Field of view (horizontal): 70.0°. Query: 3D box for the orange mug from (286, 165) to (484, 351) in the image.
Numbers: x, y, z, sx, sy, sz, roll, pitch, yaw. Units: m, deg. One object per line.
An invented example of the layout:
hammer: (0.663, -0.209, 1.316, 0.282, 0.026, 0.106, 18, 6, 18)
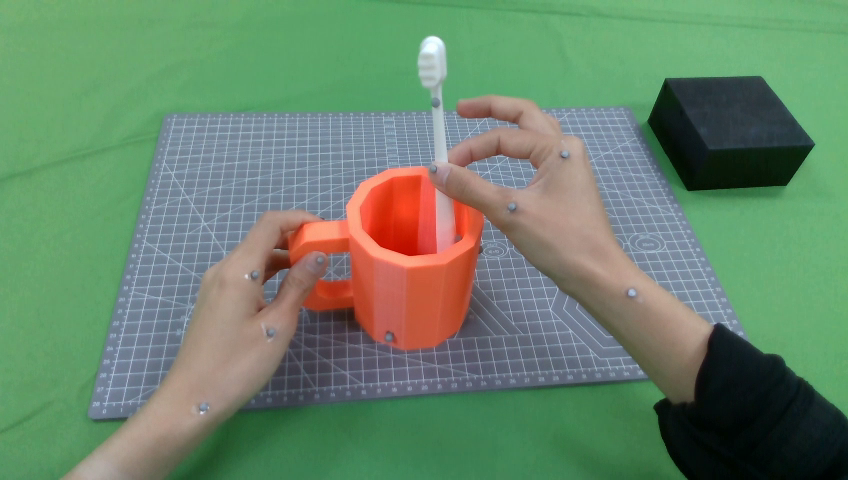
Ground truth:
orange mug: (-0.026, 0.015, 0.406, 0.126, 0.101, 0.082, -4, 51, -13)

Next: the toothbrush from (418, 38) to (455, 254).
toothbrush: (0.010, -0.030, 0.366, 0.014, 0.183, 0.016, 6, 40, 13)
